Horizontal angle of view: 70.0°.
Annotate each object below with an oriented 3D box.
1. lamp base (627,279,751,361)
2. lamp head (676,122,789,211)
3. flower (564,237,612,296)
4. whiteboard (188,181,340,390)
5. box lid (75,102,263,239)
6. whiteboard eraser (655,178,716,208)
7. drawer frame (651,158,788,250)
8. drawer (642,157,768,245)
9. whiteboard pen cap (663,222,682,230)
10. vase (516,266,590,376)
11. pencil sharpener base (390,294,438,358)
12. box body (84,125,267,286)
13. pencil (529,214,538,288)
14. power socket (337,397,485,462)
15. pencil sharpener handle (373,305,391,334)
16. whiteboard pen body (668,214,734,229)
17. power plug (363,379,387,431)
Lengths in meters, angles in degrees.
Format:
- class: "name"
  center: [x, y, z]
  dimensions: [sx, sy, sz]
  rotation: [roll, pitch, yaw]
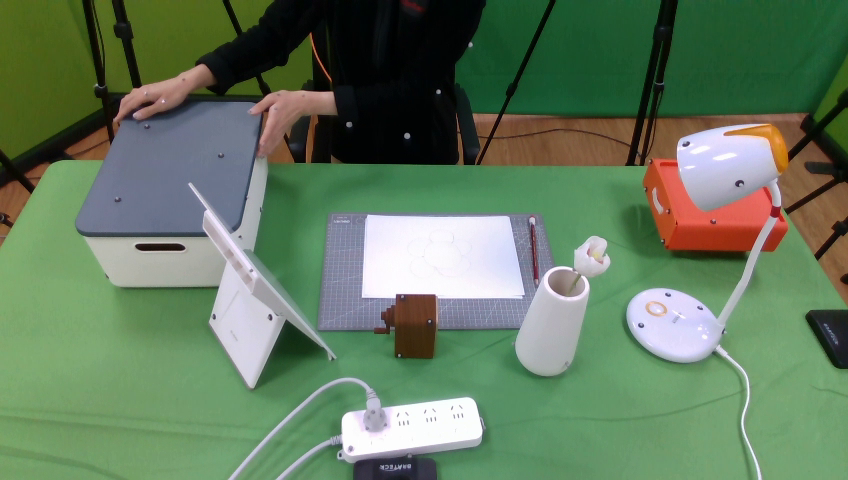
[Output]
- class: "lamp base"
  center: [0.459, 0.100, 1.027]
  dimensions: [0.178, 0.181, 0.160]
  rotation: [27, 51, 17]
- class: "lamp head"
  center: [0.423, -0.104, 0.819]
  dimensions: [0.122, 0.113, 0.112]
  rotation: [-13, 33, 40]
- class: "flower"
  center: [0.206, 0.088, 0.893]
  dimensions: [0.038, 0.363, 0.044]
  rotation: [-17, 67, -9]
- class: "whiteboard"
  center: [-0.292, 0.096, 0.929]
  dimensions: [0.144, 0.307, 0.216]
  rotation: [-38, 57, -10]
- class: "box lid"
  center: [-0.443, -0.138, 1.094]
  dimensions: [0.263, 0.015, 0.369]
  rotation: [-1, 47, -5]
- class: "whiteboard eraser"
  center: [0.538, -0.095, 1.251]
  dimensions: [0.113, 0.042, 0.055]
  rotation: [4, 52, -10]
- class: "drawer frame"
  center: [0.571, -0.074, 1.213]
  dimensions: [0.214, 0.083, 0.200]
  rotation: [1, 46, 0]
- class: "drawer"
  center: [0.564, -0.075, 1.210]
  dimensions: [0.212, 0.073, 0.193]
  rotation: [3, 45, -1]
- class: "whiteboard pen cap"
  center: [0.487, -0.027, 1.188]
  dimensions: [0.033, 0.018, 0.018]
  rotation: [0, 46, -16]
- class: "vase"
  center: [0.208, 0.132, 0.964]
  dimensions: [0.098, 0.201, 0.097]
  rotation: [3, 46, -3]
- class: "pencil sharpener base"
  center: [-0.018, 0.143, 1.000]
  dimensions: [0.077, 0.107, 0.061]
  rotation: [1, 46, -2]
- class: "box body"
  center: [-0.446, -0.088, 1.150]
  dimensions: [0.254, 0.161, 0.361]
  rotation: [-1, 46, -5]
- class: "pencil"
  center: [0.218, 0.019, 1.202]
  dimensions: [0.012, 0.012, 0.193]
  rotation: [5, 48, 1]
- class: "power socket"
  center: [-0.018, 0.285, 0.915]
  dimensions: [0.227, 0.033, 0.071]
  rotation: [-5, 46, -8]
- class: "pencil sharpener handle"
  center: [-0.069, 0.133, 0.989]
  dimensions: [0.030, 0.068, 0.036]
  rotation: [1, 47, -2]
- class: "whiteboard pen body"
  center: [0.547, -0.035, 1.200]
  dimensions: [0.141, 0.017, 0.017]
  rotation: [-8, 48, -9]
- class: "power plug"
  center: [-0.072, 0.252, 0.910]
  dimensions: [0.035, 0.053, 0.072]
  rotation: [3, 45, -1]
